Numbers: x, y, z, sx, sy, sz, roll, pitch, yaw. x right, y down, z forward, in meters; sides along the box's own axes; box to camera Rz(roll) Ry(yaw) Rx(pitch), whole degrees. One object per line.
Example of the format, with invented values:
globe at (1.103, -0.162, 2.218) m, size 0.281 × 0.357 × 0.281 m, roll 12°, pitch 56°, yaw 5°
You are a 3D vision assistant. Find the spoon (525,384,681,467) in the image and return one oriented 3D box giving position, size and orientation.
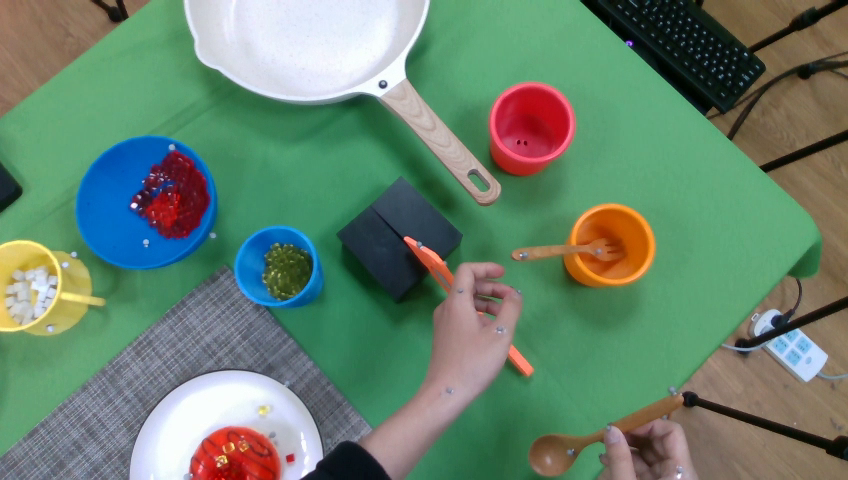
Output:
spoon at (0.162, 0.176, 0.570) m, size 0.022 × 0.194 × 0.041 m, roll -17°, pitch 71°, yaw -40°

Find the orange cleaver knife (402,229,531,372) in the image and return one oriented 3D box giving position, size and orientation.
orange cleaver knife at (0.048, 0.068, 0.674) m, size 0.012 × 0.076 × 0.213 m, roll -44°, pitch 112°, yaw -8°

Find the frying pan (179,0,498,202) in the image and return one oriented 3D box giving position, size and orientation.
frying pan at (-0.080, -0.224, 0.715) m, size 0.307 × 0.103 × 0.485 m, roll -38°, pitch 74°, yaw -6°

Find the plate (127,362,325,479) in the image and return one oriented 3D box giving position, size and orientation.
plate at (-0.210, 0.238, 0.657) m, size 0.209 × 0.038 × 0.208 m, roll 0°, pitch 80°, yaw -1°

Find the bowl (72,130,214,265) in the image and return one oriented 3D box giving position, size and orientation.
bowl at (-0.305, -0.040, 0.691) m, size 0.151 × 0.077 × 0.151 m, roll 0°, pitch 80°, yaw -1°

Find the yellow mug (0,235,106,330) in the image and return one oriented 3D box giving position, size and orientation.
yellow mug at (-0.425, 0.052, 0.678) m, size 0.131 × 0.064 × 0.099 m, roll 10°, pitch 80°, yaw 0°

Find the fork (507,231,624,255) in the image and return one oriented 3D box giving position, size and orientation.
fork at (0.158, 0.005, 0.653) m, size 0.208 × 0.018 × 0.028 m, roll -2°, pitch 76°, yaw -46°

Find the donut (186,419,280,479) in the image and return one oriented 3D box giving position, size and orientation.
donut at (-0.203, 0.241, 0.645) m, size 0.099 × 0.048 × 0.098 m, roll 0°, pitch 82°, yaw -3°

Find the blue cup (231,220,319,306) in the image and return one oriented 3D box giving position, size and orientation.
blue cup at (-0.155, 0.032, 0.668) m, size 0.092 × 0.100 × 0.092 m, roll 0°, pitch 77°, yaw 0°
